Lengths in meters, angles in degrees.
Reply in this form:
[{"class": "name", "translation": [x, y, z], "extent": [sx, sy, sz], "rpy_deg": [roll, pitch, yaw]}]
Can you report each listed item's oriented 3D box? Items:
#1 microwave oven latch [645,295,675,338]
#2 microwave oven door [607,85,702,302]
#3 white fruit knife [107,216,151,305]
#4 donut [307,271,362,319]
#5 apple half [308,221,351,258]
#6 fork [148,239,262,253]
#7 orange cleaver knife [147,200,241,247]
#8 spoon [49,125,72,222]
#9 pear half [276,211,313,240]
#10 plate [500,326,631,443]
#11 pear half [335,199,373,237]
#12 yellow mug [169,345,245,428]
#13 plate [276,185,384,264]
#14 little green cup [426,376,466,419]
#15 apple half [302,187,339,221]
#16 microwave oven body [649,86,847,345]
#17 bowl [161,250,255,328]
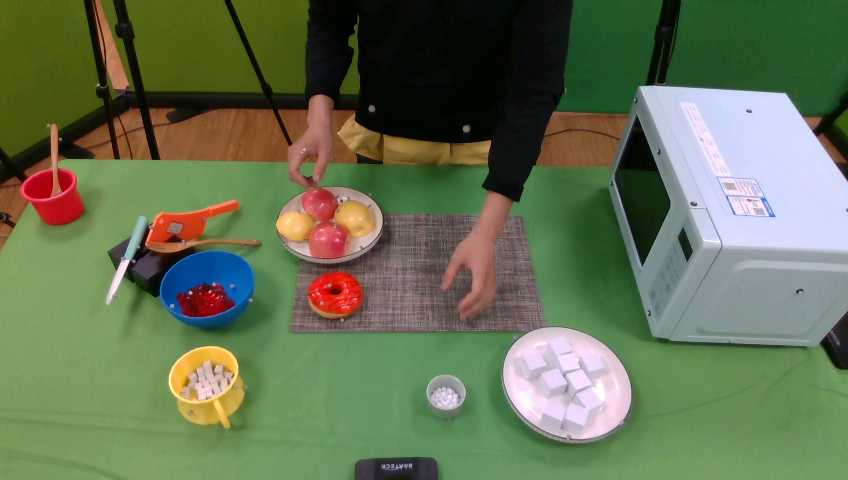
[{"class": "microwave oven latch", "translation": [0.411, 0.134, 1.061], "extent": [0.030, 0.029, 0.078], "rpy_deg": [3, 45, 0]}, {"class": "microwave oven door", "translation": [0.423, -0.094, 1.140], "extent": [0.039, 0.245, 0.353], "rpy_deg": [2, 46, -1]}, {"class": "white fruit knife", "translation": [-0.518, 0.032, 1.066], "extent": [0.027, 0.016, 0.206], "rpy_deg": [-18, 45, 19]}, {"class": "donut", "translation": [-0.157, 0.097, 1.073], "extent": [0.099, 0.048, 0.098], "rpy_deg": [4, 45, -4]}, {"class": "apple half", "translation": [-0.180, -0.005, 1.150], "extent": [0.074, 0.053, 0.080], "rpy_deg": [14, 43, 8]}, {"class": "fork", "translation": [-0.398, 0.008, 1.117], "extent": [0.208, 0.019, 0.028], "rpy_deg": [-5, 35, -37]}, {"class": "orange cleaver knife", "translation": [-0.435, -0.033, 1.157], "extent": [0.012, 0.077, 0.211], "rpy_deg": [31, 26, 19]}, {"class": "spoon", "translation": [-0.717, -0.131, 1.189], "extent": [0.042, 0.021, 0.193], "rpy_deg": [-3, 90, -7]}, {"class": "pear half", "translation": [-0.244, -0.035, 1.179], "extent": [0.070, 0.031, 0.088], "rpy_deg": [42, 39, 3]}, {"class": "plate", "translation": [0.224, 0.234, 0.978], "extent": [0.208, 0.039, 0.206], "rpy_deg": [2, 46, -2]}, {"class": "pear half", "translation": [-0.146, -0.060, 1.209], "extent": [0.076, 0.056, 0.109], "rpy_deg": [-17, 43, -24]}, {"class": "yellow mug", "translation": [-0.322, 0.230, 0.922], "extent": [0.100, 0.064, 0.130], "rpy_deg": [-24, 53, -25]}, {"class": "plate", "translation": [-0.184, -0.027, 1.194], "extent": [0.209, 0.038, 0.208], "rpy_deg": [2, 46, -2]}, {"class": "little green cup", "translation": [0.033, 0.248, 0.950], "extent": [0.061, 0.039, 0.061], "rpy_deg": [2, 46, -2]}, {"class": "apple half", "translation": [-0.204, -0.077, 1.216], "extent": [0.081, 0.033, 0.081], "rpy_deg": [19, 45, -20]}, {"class": "microwave oven body", "translation": [0.567, -0.053, 1.118], "extent": [0.326, 0.261, 0.439], "rpy_deg": [2, 45, -1]}, {"class": "bowl", "translation": [-0.362, 0.097, 1.040], "extent": [0.151, 0.077, 0.150], "rpy_deg": [2, 45, -2]}]
